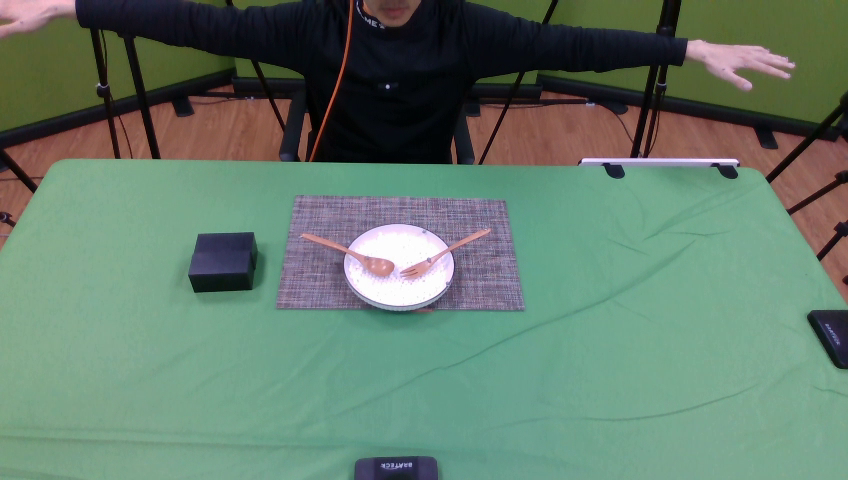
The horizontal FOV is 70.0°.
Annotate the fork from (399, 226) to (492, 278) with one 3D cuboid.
[{"bbox_3d":[0.044,0.021,1.144,0.207,0.019,0.028,-29,53,-18],"label":"fork"}]

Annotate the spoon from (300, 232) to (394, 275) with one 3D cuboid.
[{"bbox_3d":[-0.145,0.020,1.126,0.193,0.022,0.041,24,53,8],"label":"spoon"}]

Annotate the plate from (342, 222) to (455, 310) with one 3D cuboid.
[{"bbox_3d":[-0.047,0.052,1.127,0.209,0.038,0.208,2,46,-2],"label":"plate"}]
